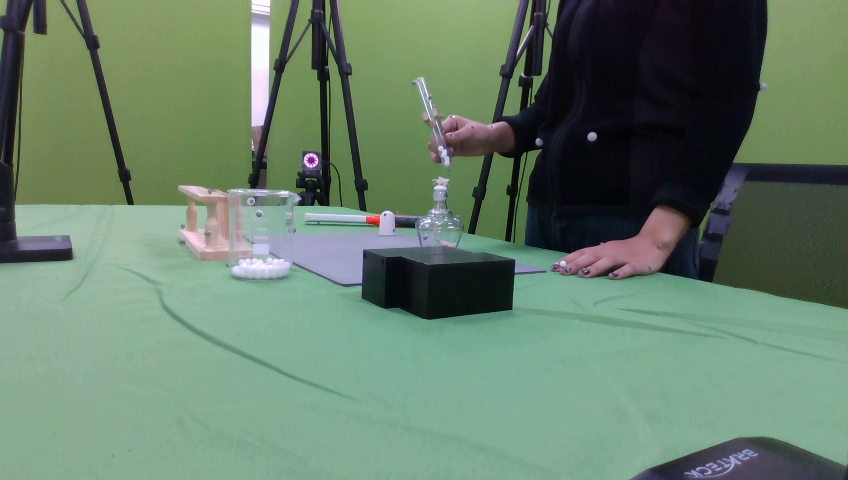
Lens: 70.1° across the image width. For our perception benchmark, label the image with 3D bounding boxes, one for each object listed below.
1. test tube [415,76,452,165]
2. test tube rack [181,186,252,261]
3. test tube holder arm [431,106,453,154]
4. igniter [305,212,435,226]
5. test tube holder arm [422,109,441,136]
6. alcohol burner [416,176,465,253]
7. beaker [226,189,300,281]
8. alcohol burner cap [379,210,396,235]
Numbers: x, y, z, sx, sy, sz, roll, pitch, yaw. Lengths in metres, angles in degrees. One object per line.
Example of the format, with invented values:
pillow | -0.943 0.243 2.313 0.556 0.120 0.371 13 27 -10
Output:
test tube | 0.015 -0.186 0.937 0.017 0.150 0.017 -18 -10 -3
test tube rack | -0.312 -0.031 0.893 0.067 0.085 0.241 -1 8 -27
test tube holder arm | 0.032 -0.179 1.003 0.013 0.015 0.179 -17 -14 8
igniter | -0.114 -0.046 1.296 0.277 0.025 0.057 1 -2 -11
test tube holder arm | 0.016 -0.185 0.961 0.010 0.015 0.088 -19 -15 15
alcohol burner | 0.025 -0.040 0.935 0.078 0.119 0.078 1 6 0
beaker | -0.184 -0.007 0.694 0.084 0.100 0.073 -1 8 -29
alcohol burner cap | -0.067 -0.033 1.129 0.034 0.048 0.034 1 7 0
